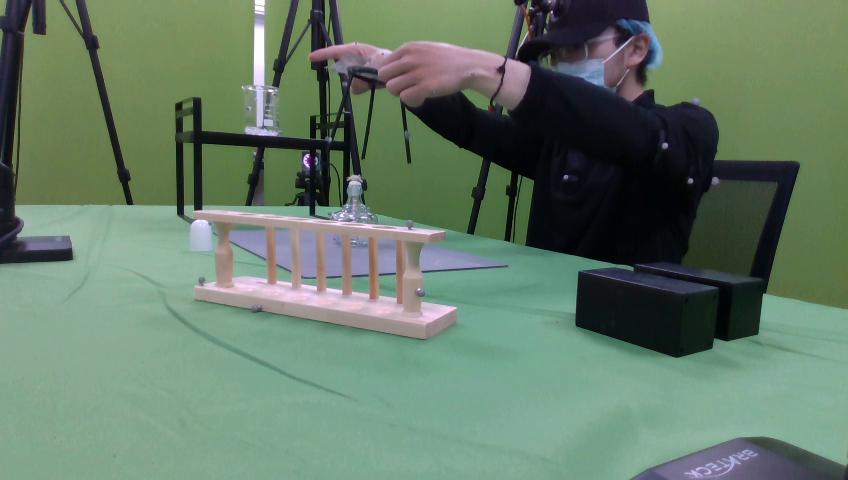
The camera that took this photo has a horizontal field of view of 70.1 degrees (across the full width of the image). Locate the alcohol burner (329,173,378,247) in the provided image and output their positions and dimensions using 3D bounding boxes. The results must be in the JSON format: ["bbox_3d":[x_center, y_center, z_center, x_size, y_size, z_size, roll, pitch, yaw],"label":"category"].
[{"bbox_3d":[-0.113,-0.049,0.972,0.078,0.119,0.078,1,9,0],"label":"alcohol burner"}]

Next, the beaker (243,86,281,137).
[{"bbox_3d":[-0.338,-0.265,1.252,0.073,0.100,0.084,8,9,38],"label":"beaker"}]

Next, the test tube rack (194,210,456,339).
[{"bbox_3d":[-0.093,0.023,0.545,0.241,0.085,0.067,6,8,25],"label":"test tube rack"}]

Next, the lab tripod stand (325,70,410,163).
[{"bbox_3d":[-0.082,-0.193,0.957,0.148,0.131,0.148,9,4,0],"label":"lab tripod stand"}]

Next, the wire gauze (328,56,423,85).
[{"bbox_3d":[-0.078,-0.260,0.947,0.125,0.011,0.121,10,4,-22],"label":"wire gauze"}]

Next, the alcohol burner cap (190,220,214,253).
[{"bbox_3d":[-0.321,-0.006,0.875,0.034,0.048,0.034,4,8,0],"label":"alcohol burner cap"}]
